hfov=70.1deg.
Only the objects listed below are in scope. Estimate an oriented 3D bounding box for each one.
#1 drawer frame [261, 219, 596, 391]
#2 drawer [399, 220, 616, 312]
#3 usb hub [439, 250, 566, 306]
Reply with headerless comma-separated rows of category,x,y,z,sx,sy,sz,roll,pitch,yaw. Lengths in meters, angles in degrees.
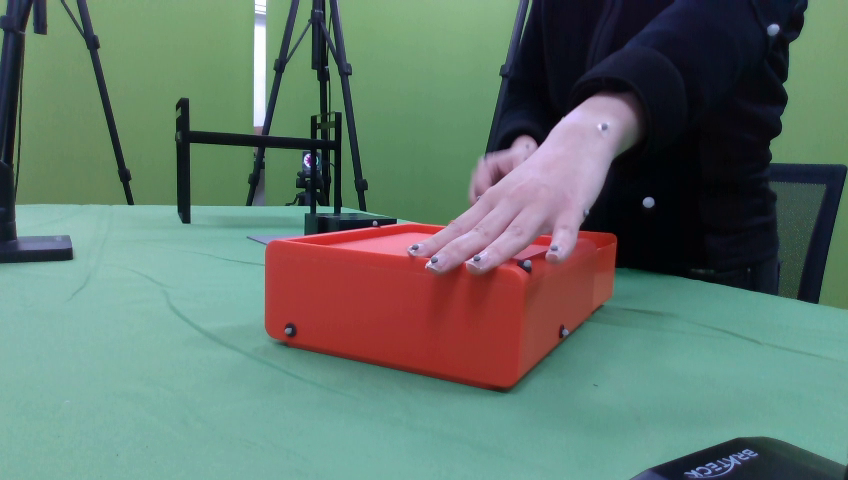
drawer frame,0.016,0.036,0.494,0.201,0.082,0.214,6,9,26
drawer,0.061,0.028,0.579,0.193,0.073,0.213,7,9,28
usb hub,0.077,0.037,0.617,0.124,0.025,0.050,16,14,39
